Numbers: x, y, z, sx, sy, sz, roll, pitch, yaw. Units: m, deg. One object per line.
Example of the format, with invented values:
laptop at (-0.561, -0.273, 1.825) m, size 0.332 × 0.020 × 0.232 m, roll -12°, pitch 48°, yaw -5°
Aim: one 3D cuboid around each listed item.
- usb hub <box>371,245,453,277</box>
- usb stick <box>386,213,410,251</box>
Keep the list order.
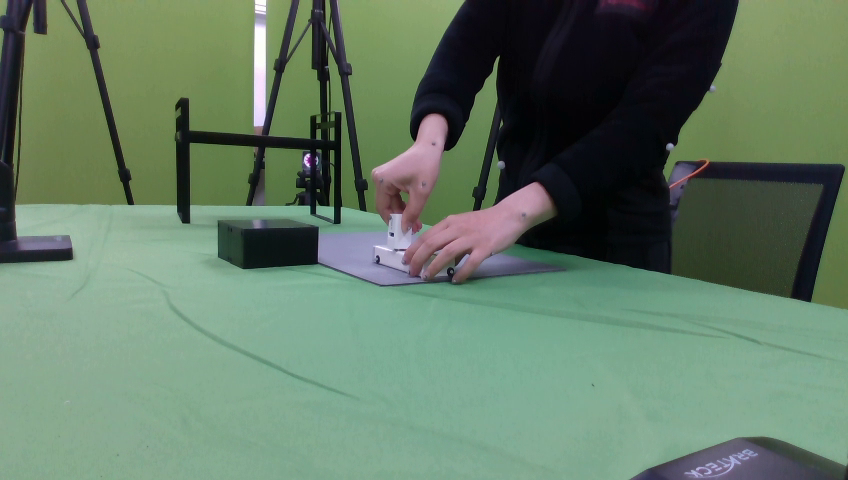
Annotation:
usb hub at (-0.018, 0.025, 0.777) m, size 0.050 × 0.025 × 0.124 m, roll -2°, pitch 8°, yaw -34°
usb stick at (-0.033, -0.005, 0.772) m, size 0.027 × 0.059 × 0.021 m, roll -8°, pitch 13°, yaw -37°
